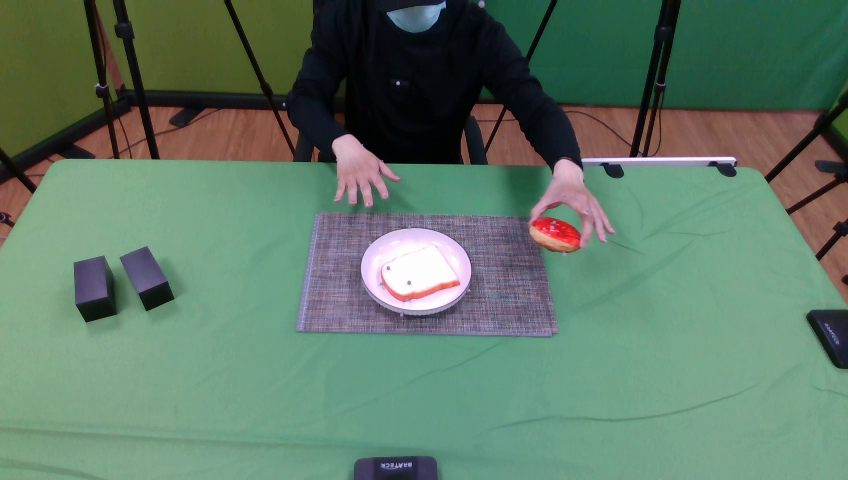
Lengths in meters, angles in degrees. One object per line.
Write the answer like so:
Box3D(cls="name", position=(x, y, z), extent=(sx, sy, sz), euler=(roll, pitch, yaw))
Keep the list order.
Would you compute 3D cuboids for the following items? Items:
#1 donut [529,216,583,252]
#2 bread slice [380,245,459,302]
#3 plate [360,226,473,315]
Box3D(cls="donut", position=(0.235, -0.009, 1.080), extent=(0.099, 0.048, 0.098), euler=(15, 19, -5))
Box3D(cls="bread slice", position=(-0.014, 0.064, 1.122), extent=(0.132, 0.019, 0.104), euler=(-18, 49, -21))
Box3D(cls="plate", position=(-0.013, 0.059, 1.124), extent=(0.208, 0.039, 0.206), euler=(2, 46, -2))
